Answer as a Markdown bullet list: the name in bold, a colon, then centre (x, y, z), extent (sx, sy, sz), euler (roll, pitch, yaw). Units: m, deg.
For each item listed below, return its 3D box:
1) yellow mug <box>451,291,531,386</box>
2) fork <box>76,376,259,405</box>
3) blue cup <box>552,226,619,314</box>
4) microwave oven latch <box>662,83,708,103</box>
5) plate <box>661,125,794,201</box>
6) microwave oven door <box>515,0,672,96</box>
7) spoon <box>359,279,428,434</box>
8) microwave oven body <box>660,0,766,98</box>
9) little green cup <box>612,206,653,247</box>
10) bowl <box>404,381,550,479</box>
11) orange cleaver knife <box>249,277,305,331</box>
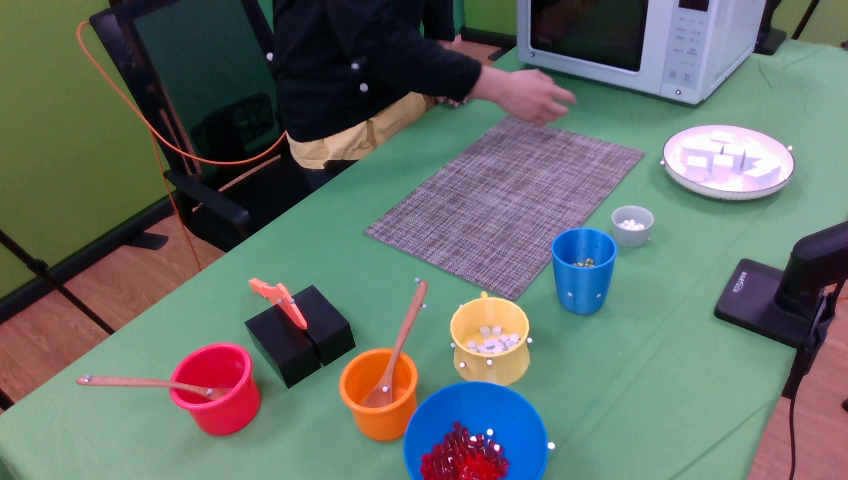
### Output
- **yellow mug**: centre (0.085, 0.120, 0.786), extent (0.100, 0.064, 0.130), euler (-7, 39, 1)
- **fork**: centre (-0.295, 0.176, 0.716), extent (0.209, 0.018, 0.028), euler (19, 27, -37)
- **blue cup**: centre (0.218, 0.047, 0.825), extent (0.092, 0.101, 0.092), euler (-6, 40, 5)
- **microwave oven latch**: centre (0.517, -0.296, 1.204), extent (0.078, 0.029, 0.030), euler (27, 52, 35)
- **plate**: centre (0.513, -0.128, 1.035), extent (0.207, 0.039, 0.206), euler (-4, 40, 4)
- **microwave oven door**: centre (0.344, -0.455, 1.259), extent (0.353, 0.245, 0.039), euler (26, 51, 33)
- **spoon**: centre (-0.032, 0.138, 0.719), extent (0.041, 0.193, 0.022), euler (22, 4, 30)
- **microwave oven body**: centre (0.472, -0.513, 1.317), extent (0.438, 0.261, 0.327), euler (26, 51, 34)
- **little green cup**: centre (0.321, -0.019, 0.936), extent (0.061, 0.039, 0.061), euler (-4, 40, 4)
- **bowl**: centre (0.058, 0.235, 0.645), extent (0.151, 0.077, 0.150), euler (-4, 39, 4)
- **orange cleaver knife**: centre (-0.210, 0.088, 0.855), extent (0.012, 0.077, 0.210), euler (-28, 15, -25)
